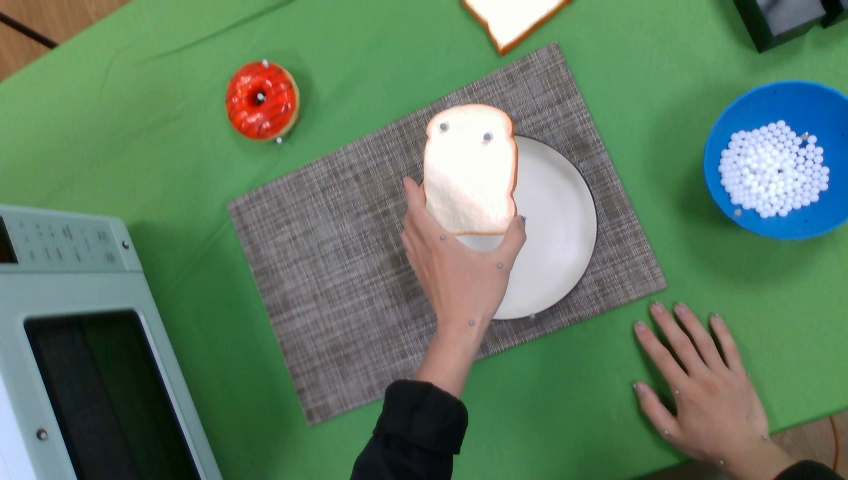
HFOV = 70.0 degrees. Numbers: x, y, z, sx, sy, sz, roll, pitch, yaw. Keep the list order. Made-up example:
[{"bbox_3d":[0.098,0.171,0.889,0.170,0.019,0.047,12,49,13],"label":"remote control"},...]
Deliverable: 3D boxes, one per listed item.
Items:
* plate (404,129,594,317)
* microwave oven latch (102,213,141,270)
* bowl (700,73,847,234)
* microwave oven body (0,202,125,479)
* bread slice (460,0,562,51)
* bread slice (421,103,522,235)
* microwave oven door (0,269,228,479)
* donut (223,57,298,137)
[{"bbox_3d":[0.082,-0.018,0.675,0.207,0.039,0.207,0,89,14],"label":"plate"},{"bbox_3d":[-0.393,0.005,0.772,0.030,0.029,0.079,-25,84,11],"label":"microwave oven latch"},{"bbox_3d":[0.345,-0.078,0.597,0.151,0.077,0.151,0,88,13],"label":"bowl"},{"bbox_3d":[-0.475,0.224,0.688,0.326,0.261,0.440,-26,84,11],"label":"microwave oven body"},{"bbox_3d":[0.088,-0.298,0.694,0.105,0.019,0.131,-38,82,9],"label":"bread slice"},{"bbox_3d":[0.045,-0.071,0.618,0.106,0.018,0.134,-4,89,23],"label":"bread slice"},{"bbox_3d":[-0.330,0.200,0.649,0.039,0.244,0.354,-26,83,12],"label":"microwave oven door"},{"bbox_3d":[-0.203,-0.176,0.747,0.099,0.048,0.099,0,89,16],"label":"donut"}]
